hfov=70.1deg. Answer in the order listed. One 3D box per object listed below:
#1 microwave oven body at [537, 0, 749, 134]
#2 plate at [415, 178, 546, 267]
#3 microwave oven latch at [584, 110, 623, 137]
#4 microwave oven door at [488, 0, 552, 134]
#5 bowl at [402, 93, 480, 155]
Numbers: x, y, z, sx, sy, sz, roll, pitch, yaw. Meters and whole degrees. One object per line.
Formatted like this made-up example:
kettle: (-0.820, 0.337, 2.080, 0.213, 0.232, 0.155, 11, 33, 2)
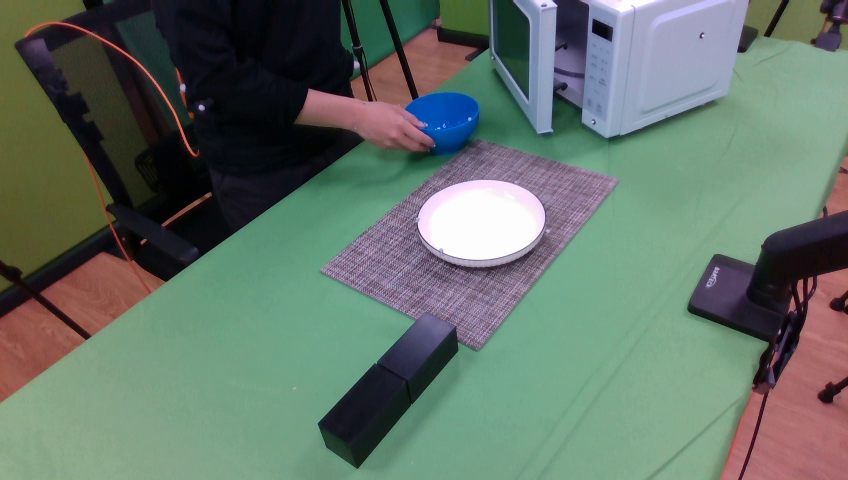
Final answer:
microwave oven body: (0.382, -0.444, 1.246, 0.327, 0.261, 0.437, -22, 42, -16)
plate: (0.091, -0.026, 0.970, 0.207, 0.039, 0.206, -4, 41, 4)
microwave oven latch: (0.337, -0.222, 1.142, 0.030, 0.029, 0.078, -21, 42, -14)
microwave oven door: (0.189, -0.407, 1.222, 0.039, 0.245, 0.353, -10, 41, -5)
bowl: (0.035, -0.218, 1.180, 0.151, 0.077, 0.150, -2, 38, 2)
